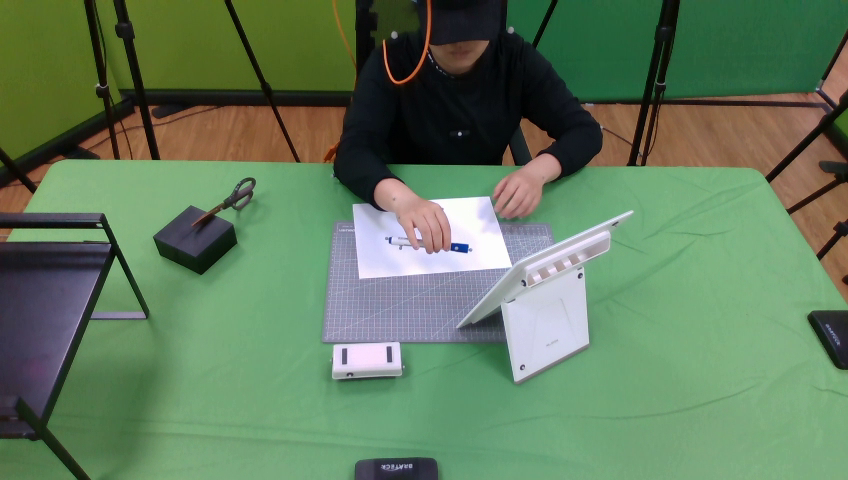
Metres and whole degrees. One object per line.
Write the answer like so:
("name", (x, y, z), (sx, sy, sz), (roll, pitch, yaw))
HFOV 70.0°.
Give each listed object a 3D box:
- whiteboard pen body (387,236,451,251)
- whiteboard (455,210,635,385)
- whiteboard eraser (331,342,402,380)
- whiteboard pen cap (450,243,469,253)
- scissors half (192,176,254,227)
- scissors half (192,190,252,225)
("whiteboard pen body", (0.004, 0.008, 1.079), (0.141, 0.017, 0.017), (7, 46, 6))
("whiteboard", (0.210, 0.111, 0.955), (0.217, 0.306, 0.143), (-21, 72, -23))
("whiteboard eraser", (-0.094, 0.198, 0.986), (0.113, 0.042, 0.055), (-2, 44, -6))
("whiteboard pen cap", (0.062, 0.014, 1.070), (0.033, 0.018, 0.018), (3, 46, 9))
("scissors half", (-0.388, -0.075, 1.174), (0.013, 0.040, 0.174), (29, 47, 8))
("scissors half", (-0.393, -0.060, 1.187), (0.013, 0.040, 0.175), (25, 29, 12))
